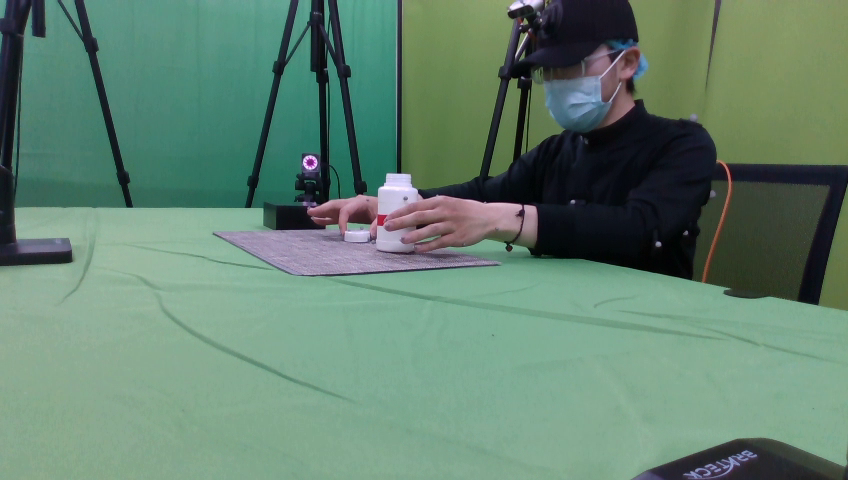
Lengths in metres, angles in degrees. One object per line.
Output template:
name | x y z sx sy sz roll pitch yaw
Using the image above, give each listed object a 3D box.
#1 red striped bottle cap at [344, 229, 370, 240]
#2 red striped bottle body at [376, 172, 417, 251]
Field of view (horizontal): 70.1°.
red striped bottle cap | -0.115 -0.009 1.033 0.044 0.017 0.044 -2 4 0
red striped bottle body | -0.043 -0.045 0.937 0.063 0.119 0.063 1 6 0
